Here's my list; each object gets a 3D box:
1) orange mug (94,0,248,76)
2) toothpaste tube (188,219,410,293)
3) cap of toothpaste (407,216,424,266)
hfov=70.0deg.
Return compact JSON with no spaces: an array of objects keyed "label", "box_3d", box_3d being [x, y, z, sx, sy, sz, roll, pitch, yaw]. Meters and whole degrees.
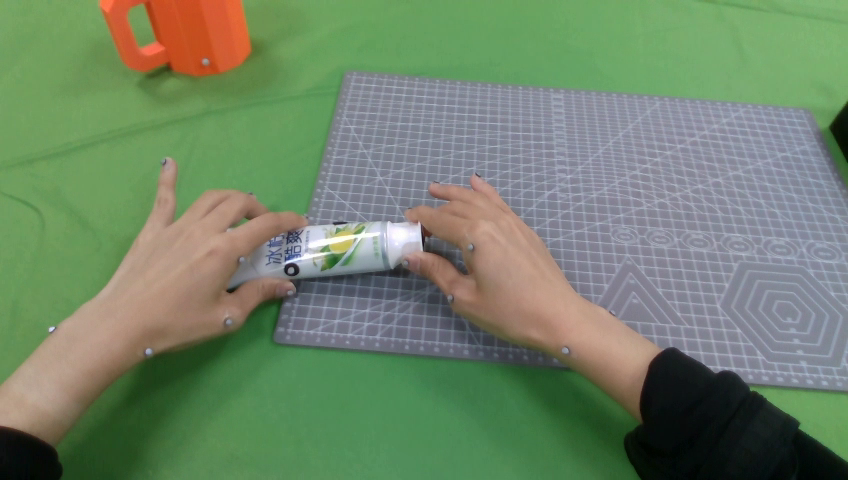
[{"label":"orange mug","box_3d":[-0.230,-0.210,0.554,0.126,0.101,0.083,-35,61,-31]},{"label":"toothpaste tube","box_3d":[-0.084,0.006,0.432,0.165,0.035,0.054,-5,54,1]},{"label":"cap of toothpaste","box_3d":[-0.006,0.001,0.429,0.011,0.038,0.037,-5,52,2]}]
